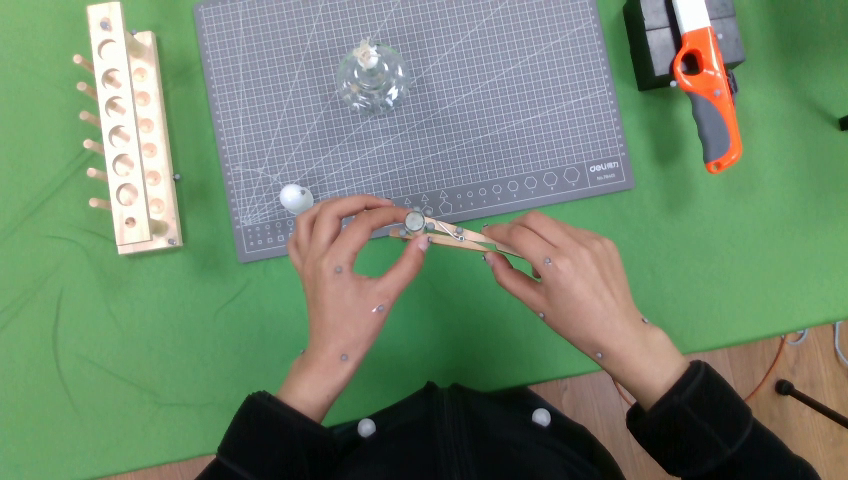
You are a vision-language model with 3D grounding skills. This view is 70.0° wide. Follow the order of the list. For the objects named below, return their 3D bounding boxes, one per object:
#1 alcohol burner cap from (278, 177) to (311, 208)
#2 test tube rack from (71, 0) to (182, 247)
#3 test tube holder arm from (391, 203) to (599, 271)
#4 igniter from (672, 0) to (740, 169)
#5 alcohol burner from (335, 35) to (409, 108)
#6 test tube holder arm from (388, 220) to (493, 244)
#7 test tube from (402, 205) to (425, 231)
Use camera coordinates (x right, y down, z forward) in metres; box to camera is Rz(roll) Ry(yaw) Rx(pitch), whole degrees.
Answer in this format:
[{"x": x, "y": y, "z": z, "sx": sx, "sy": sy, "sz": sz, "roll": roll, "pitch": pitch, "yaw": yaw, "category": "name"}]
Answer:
[{"x": -0.142, "y": -0.053, "z": 0.653, "sx": 0.034, "sy": 0.048, "sz": 0.034, "roll": 0, "pitch": 87, "yaw": -2, "category": "alcohol burner cap"}, {"x": -0.317, "y": -0.119, "z": 0.634, "sx": 0.067, "sy": 0.085, "sz": 0.242, "roll": -9, "pitch": 87, "yaw": -1, "category": "test tube rack"}, {"x": 0.059, "y": -0.003, "z": 0.505, "sx": 0.178, "sy": 0.015, "sz": 0.013, "roll": 14, "pitch": 95, "yaw": -1, "category": "test tube holder arm"}, {"x": 0.284, "y": -0.212, "z": 0.633, "sx": 0.057, "sy": 0.025, "sz": 0.276, "roll": -12, "pitch": 87, "yaw": 10, "category": "igniter"}, {"x": -0.055, "y": -0.178, "z": 0.625, "sx": 0.078, "sy": 0.119, "sz": 0.078, "roll": 0, "pitch": 88, "yaw": 0, "category": "alcohol burner"}, {"x": 0.014, "y": -0.006, "z": 0.505, "sx": 0.088, "sy": 0.015, "sz": 0.010, "roll": 7, "pitch": 94, "yaw": 0, "category": "test tube holder arm"}, {"x": -0.008, "y": -0.015, "z": 0.505, "sx": 0.017, "sy": 0.150, "sz": 0.017, "roll": 0, "pitch": 88, "yaw": 0, "category": "test tube"}]
